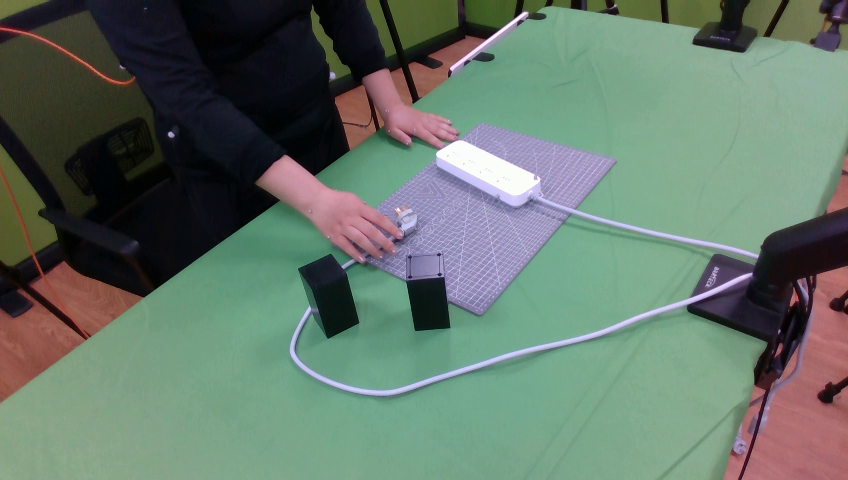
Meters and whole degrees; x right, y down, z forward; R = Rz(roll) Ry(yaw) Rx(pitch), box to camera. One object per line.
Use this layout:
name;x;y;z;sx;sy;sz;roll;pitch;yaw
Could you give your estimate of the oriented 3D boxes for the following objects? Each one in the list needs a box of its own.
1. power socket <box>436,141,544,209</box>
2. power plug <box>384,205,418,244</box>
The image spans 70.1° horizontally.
power socket;0.112;-0.120;1.082;0.072;0.033;0.224;-34;47;-27
power plug;-0.043;-0.030;0.991;0.073;0.035;0.052;-20;59;-31
